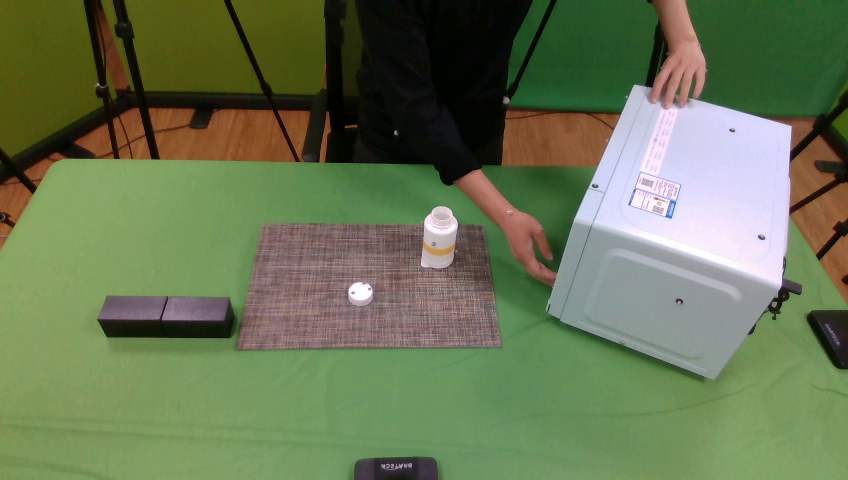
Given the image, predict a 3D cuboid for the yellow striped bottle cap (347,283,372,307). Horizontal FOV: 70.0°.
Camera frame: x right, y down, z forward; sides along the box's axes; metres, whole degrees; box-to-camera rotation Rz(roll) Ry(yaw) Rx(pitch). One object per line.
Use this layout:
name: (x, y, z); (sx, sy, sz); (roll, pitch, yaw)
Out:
yellow striped bottle cap: (-0.116, 0.098, 1.093); (0.044, 0.019, 0.044); (3, 45, -3)

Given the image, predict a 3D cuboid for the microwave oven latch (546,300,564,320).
microwave oven latch: (0.245, 0.105, 1.078); (0.030, 0.029, 0.079); (29, 50, 24)

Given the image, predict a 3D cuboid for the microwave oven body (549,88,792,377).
microwave oven body: (0.456, -0.028, 1.088); (0.325, 0.261, 0.440); (20, 47, 16)

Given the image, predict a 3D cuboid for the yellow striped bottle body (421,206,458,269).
yellow striped bottle body: (0.029, -0.008, 1.132); (0.063, 0.121, 0.062); (2, 46, -2)

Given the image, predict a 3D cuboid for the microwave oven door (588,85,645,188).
microwave oven door: (0.341, -0.107, 1.149); (0.039, 0.245, 0.354); (21, 48, 15)
